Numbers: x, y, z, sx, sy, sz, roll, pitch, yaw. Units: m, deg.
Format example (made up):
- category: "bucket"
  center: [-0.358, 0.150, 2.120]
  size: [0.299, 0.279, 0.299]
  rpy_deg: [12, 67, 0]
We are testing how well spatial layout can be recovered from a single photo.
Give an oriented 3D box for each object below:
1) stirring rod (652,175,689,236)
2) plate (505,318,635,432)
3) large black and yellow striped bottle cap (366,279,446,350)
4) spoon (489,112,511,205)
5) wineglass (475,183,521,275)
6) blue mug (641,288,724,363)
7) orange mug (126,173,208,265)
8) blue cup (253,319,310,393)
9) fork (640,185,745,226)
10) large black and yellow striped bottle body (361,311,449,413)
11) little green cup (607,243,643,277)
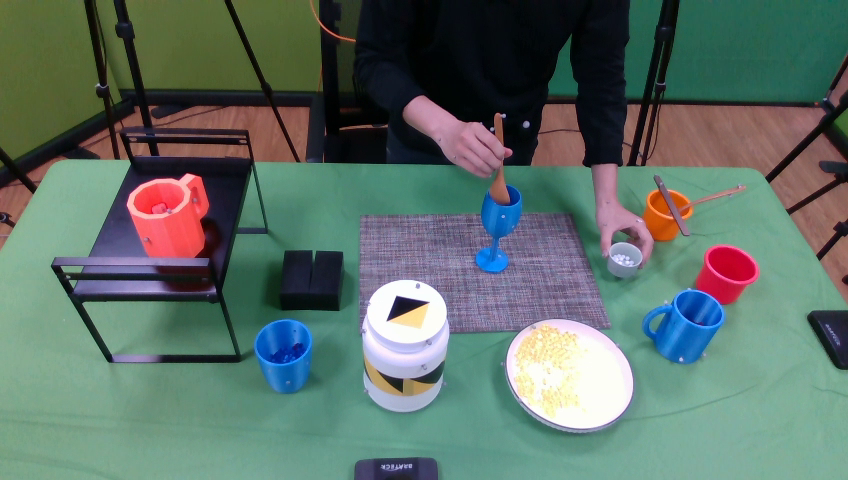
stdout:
- category: "stirring rod"
  center: [0.491, -0.072, 1.211]
  size: [0.014, 0.006, 0.175]
  rpy_deg: [-1, 47, -6]
- category: "plate"
  center: [0.235, 0.221, 0.991]
  size: [0.209, 0.038, 0.208]
  rpy_deg: [2, 45, -2]
- category: "large black and yellow striped bottle cap"
  center: [-0.025, 0.104, 0.864]
  size: [0.115, 0.019, 0.114]
  rpy_deg: [3, 48, -3]
- category: "spoon"
  center: [0.123, -0.129, 0.992]
  size: [0.041, 0.195, 0.021]
  rpy_deg: [24, 51, 29]
- category: "wineglass"
  center: [0.134, -0.020, 1.115]
  size: [0.074, 0.173, 0.073]
  rpy_deg: [2, 46, -2]
- category: "blue mug"
  center: [0.432, 0.144, 1.033]
  size: [0.116, 0.106, 0.082]
  rpy_deg: [8, 46, 4]
- category: "orange mug"
  center: [-0.371, -0.039, 0.902]
  size: [0.083, 0.101, 0.126]
  rpy_deg: [18, 52, 14]
- category: "blue cup"
  center: [-0.217, 0.187, 0.943]
  size: [0.093, 0.101, 0.092]
  rpy_deg: [3, 45, -3]
- category: "fork"
  center: [0.534, -0.069, 1.215]
  size: [0.207, 0.019, 0.028]
  rpy_deg: [-26, 27, 33]
- category: "large black and yellow striped bottle body"
  center: [-0.031, 0.163, 0.924]
  size: [0.131, 0.185, 0.130]
  rpy_deg: [2, 46, -2]
- category: "little green cup"
  center: [0.376, 0.039, 1.143]
  size: [0.061, 0.039, 0.061]
  rpy_deg: [2, 46, -2]
